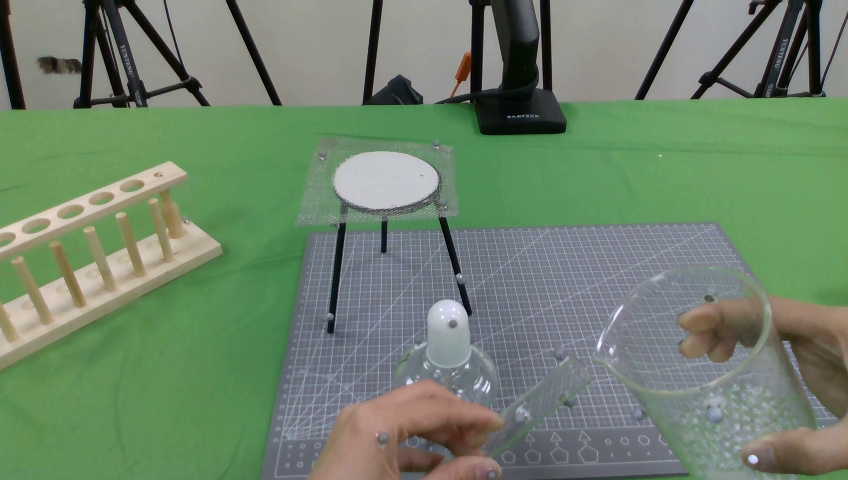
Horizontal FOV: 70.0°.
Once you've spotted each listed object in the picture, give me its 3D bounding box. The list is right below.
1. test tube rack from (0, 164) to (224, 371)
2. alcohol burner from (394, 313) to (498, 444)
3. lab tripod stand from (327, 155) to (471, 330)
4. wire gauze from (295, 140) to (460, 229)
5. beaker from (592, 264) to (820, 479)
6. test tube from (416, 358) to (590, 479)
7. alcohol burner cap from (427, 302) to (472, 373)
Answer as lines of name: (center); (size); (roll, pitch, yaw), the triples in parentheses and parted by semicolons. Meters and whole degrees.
test tube rack: (-0.314, 0.022, 0.551); (0.066, 0.086, 0.242); (30, 47, 33)
alcohol burner: (0.016, 0.092, 0.436); (0.078, 0.120, 0.077); (1, 40, 0)
lab tripod stand: (-0.026, 0.003, 0.534); (0.148, 0.132, 0.147); (1, 37, -1)
wire gauze: (-0.034, -0.048, 0.491); (0.121, 0.011, 0.124); (1, 39, -1)
beaker: (0.140, 0.074, 0.296); (0.084, 0.101, 0.073); (-23, 31, 29)
test tube: (0.031, 0.112, 0.327); (0.017, 0.150, 0.017); (32, 29, -20)
alcohol burner cap: (0.017, 0.063, 0.414); (0.034, 0.048, 0.033); (-2, 37, 2)
